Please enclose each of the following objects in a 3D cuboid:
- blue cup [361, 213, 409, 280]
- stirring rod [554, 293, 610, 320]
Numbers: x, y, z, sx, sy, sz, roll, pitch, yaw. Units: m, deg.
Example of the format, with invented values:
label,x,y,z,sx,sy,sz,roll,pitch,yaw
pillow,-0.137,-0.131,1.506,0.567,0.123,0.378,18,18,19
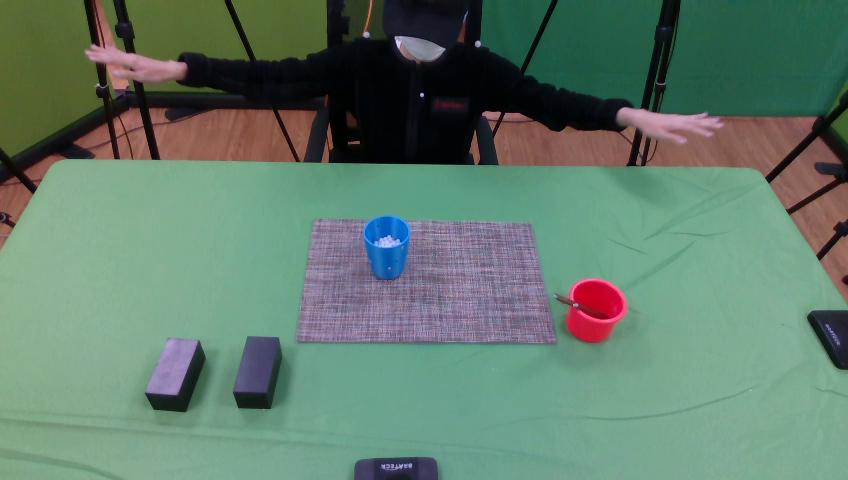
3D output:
label,x,y,z,sx,sy,sz,roll,pitch,yaw
blue cup,-0.070,0.020,1.114,0.093,0.101,0.092,1,46,-1
stirring rod,0.271,0.115,1.030,0.177,0.006,0.014,22,26,-43
